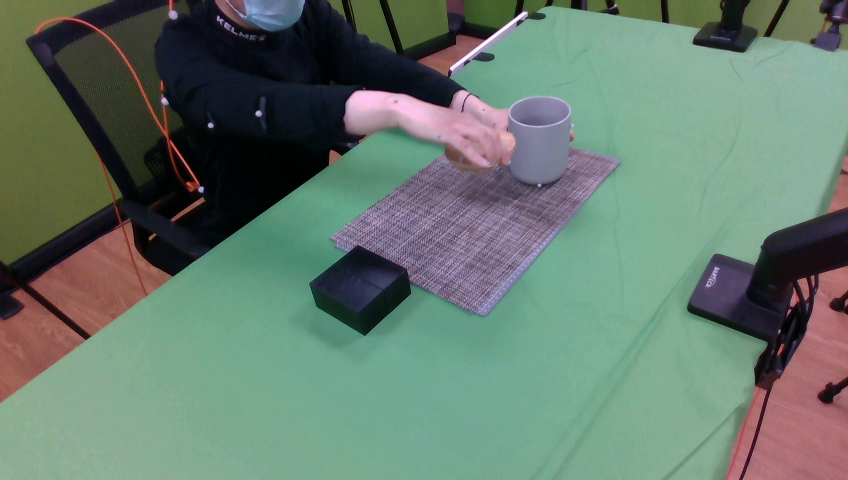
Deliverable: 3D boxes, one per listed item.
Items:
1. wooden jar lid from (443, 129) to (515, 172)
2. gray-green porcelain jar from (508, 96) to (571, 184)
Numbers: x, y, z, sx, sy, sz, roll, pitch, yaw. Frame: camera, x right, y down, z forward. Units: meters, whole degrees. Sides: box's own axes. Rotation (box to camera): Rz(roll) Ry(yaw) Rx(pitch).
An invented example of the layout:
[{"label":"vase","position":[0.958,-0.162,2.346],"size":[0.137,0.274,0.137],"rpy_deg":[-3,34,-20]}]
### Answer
[{"label":"wooden jar lid","position":[0.084,-0.134,0.913],"size":[0.108,0.021,0.108],"rpy_deg":[-8,37,7]},{"label":"gray-green porcelain jar","position":[0.199,-0.169,1.051],"size":[0.106,0.127,0.105],"rpy_deg":[-4,41,4]}]
